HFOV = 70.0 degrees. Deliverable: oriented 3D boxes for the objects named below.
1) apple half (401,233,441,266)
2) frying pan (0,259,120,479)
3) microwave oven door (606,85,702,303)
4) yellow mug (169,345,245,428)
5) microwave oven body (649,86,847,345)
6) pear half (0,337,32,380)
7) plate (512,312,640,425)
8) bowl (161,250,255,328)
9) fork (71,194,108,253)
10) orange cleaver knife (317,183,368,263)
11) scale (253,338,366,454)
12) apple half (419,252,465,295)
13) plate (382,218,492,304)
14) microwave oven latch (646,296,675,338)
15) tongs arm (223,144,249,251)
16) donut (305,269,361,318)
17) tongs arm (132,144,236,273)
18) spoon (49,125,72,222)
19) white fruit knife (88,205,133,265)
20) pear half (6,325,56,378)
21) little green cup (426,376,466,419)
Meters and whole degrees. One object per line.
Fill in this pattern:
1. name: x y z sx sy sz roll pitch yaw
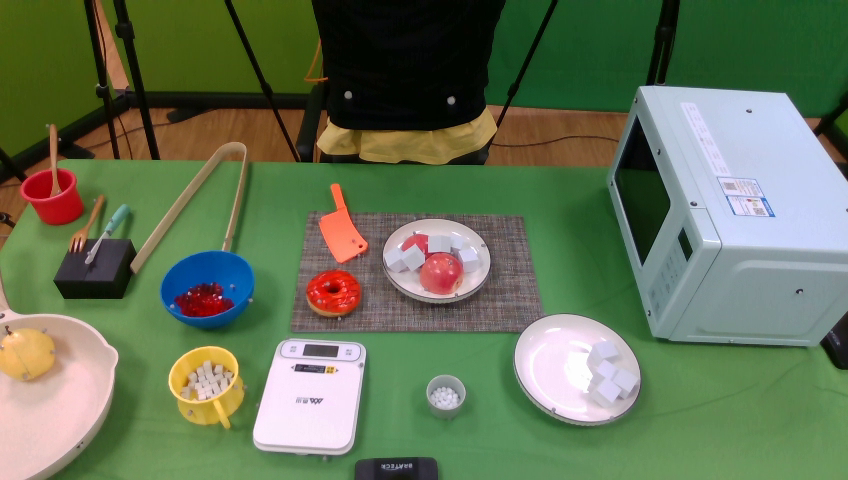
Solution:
1. apple half: -0.004 0.013 1.160 0.081 0.033 0.081 5 44 -4
2. frying pan: -0.647 0.164 0.936 0.307 0.103 0.485 -19 58 -22
3. microwave oven door: 0.423 -0.094 1.140 0.039 0.245 0.353 2 46 -1
4. yellow mug: -0.322 0.230 0.922 0.100 0.064 0.130 -24 53 -25
5. microwave oven body: 0.567 -0.053 1.118 0.326 0.261 0.439 2 45 -1
6. pear half: -0.631 0.184 0.921 0.070 0.088 0.031 29 49 19
7. plate: 0.246 0.213 0.999 0.208 0.039 0.206 2 46 -2
8. bowl: -0.362 0.098 1.039 0.151 0.077 0.150 2 45 -2
9. fork: -0.634 -0.036 1.158 0.028 0.019 0.206 -7 31 -8
10. orange cleaver knife: -0.174 -0.037 1.218 0.077 0.012 0.210 -17 51 -11
11. scale: -0.175 0.236 0.951 0.149 0.032 0.199 4 45 -1
12. apple half: 0.035 0.055 1.109 0.074 0.053 0.081 38 55 24
13. plate: 0.023 0.042 1.143 0.209 0.038 0.208 2 46 -2
14. microwave oven latch: 0.412 0.134 1.061 0.030 0.029 0.078 4 45 1
15. tongs arm: -0.397 -0.073 1.232 0.051 0.026 0.382 -1 45 0
16. donut: -0.160 0.094 1.075 0.099 0.048 0.098 4 45 -3
17. tongs arm: -0.482 -0.078 1.235 0.028 0.028 0.385 6 45 12
18. spoon: -0.718 -0.131 1.189 0.041 0.021 0.193 -4 91 -6
19. white fruit knife: -0.583 -0.013 1.129 0.016 0.027 0.206 -2 32 -4
20. pear half: -0.608 0.158 0.935 0.076 0.110 0.056 31 51 20
21. little green cup: 0.033 0.248 0.950 0.061 0.039 0.061 2 46 -2
